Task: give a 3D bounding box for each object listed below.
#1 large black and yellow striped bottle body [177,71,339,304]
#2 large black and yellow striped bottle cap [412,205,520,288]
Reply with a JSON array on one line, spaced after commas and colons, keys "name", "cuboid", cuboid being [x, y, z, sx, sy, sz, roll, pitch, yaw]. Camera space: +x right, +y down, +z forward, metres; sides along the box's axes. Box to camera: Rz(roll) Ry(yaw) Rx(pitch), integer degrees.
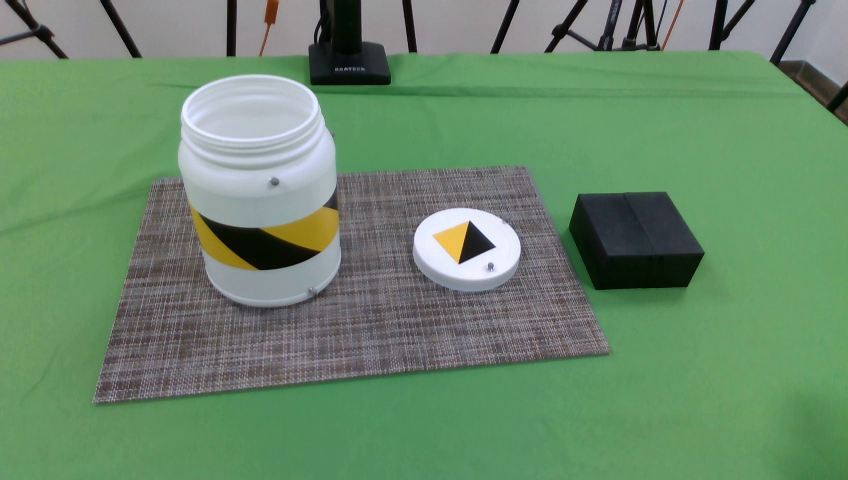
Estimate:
[{"name": "large black and yellow striped bottle body", "cuboid": [-0.146, -0.046, 0.555, 0.131, 0.185, 0.129, 3, 43, -2]}, {"name": "large black and yellow striped bottle cap", "cuboid": [0.044, 0.004, 0.644, 0.115, 0.019, 0.114, 2, 42, -2]}]
